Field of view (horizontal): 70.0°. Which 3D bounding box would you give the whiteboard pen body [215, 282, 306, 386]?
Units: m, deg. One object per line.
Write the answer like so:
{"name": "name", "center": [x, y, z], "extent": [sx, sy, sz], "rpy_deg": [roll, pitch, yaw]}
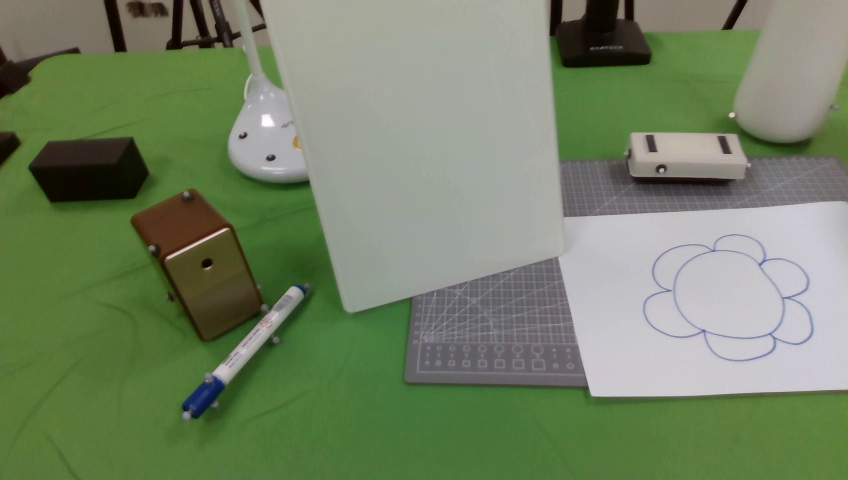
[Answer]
{"name": "whiteboard pen body", "center": [-0.144, 0.084, 0.512], "extent": [0.017, 0.017, 0.140], "rpy_deg": [15, 44, 21]}

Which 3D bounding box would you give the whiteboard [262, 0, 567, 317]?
{"name": "whiteboard", "center": [-0.008, -0.120, 0.552], "extent": [0.217, 0.308, 0.142], "rpy_deg": [-15, 25, -9]}

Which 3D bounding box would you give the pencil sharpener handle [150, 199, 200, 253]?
{"name": "pencil sharpener handle", "center": [-0.226, -0.016, 0.547], "extent": [0.036, 0.068, 0.030], "rpy_deg": [-37, 51, -19]}

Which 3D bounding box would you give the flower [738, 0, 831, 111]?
{"name": "flower", "center": [0.405, -0.254, 0.570], "extent": [0.044, 0.364, 0.038], "rpy_deg": [-17, 62, -22]}

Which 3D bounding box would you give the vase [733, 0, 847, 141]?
{"name": "vase", "center": [0.401, -0.205, 0.639], "extent": [0.098, 0.202, 0.097], "rpy_deg": [-2, 44, 2]}

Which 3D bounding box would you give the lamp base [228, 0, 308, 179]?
{"name": "lamp base", "center": [-0.168, -0.186, 0.685], "extent": [0.160, 0.182, 0.177], "rpy_deg": [-36, 49, -29]}

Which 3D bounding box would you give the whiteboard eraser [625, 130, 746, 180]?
{"name": "whiteboard eraser", "center": [0.272, -0.088, 0.638], "extent": [0.112, 0.042, 0.055], "rpy_deg": [1, 42, 8]}

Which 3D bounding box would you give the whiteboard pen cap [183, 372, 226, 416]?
{"name": "whiteboard pen cap", "center": [-0.169, 0.119, 0.470], "extent": [0.018, 0.018, 0.033], "rpy_deg": [18, 45, 23]}

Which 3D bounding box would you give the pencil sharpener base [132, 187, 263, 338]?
{"name": "pencil sharpener base", "center": [-0.194, 0.019, 0.525], "extent": [0.061, 0.108, 0.076], "rpy_deg": [-32, 49, -25]}
